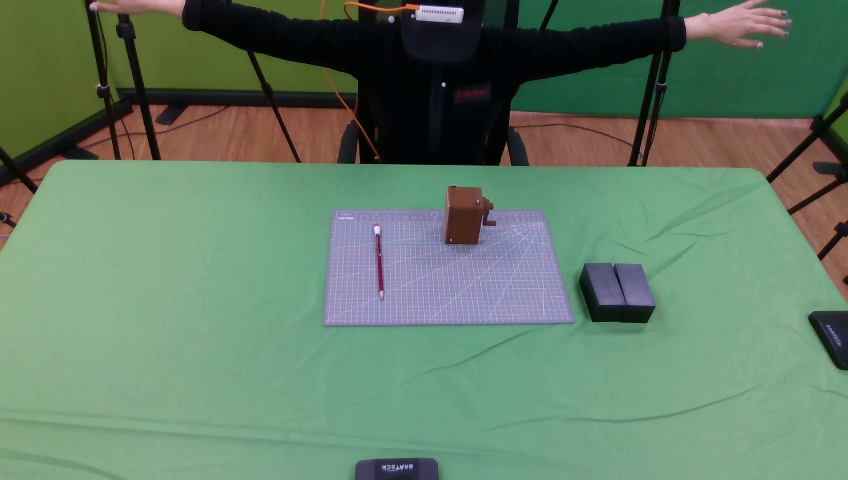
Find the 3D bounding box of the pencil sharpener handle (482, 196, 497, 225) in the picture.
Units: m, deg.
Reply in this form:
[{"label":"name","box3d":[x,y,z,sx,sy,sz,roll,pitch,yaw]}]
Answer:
[{"label":"pencil sharpener handle","box3d":[0.130,-0.056,1.182,0.031,0.068,0.036,1,43,-3]}]

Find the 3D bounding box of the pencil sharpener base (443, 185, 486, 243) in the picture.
[{"label":"pencil sharpener base","box3d":[0.078,-0.049,1.188,0.077,0.107,0.061,1,46,-3]}]

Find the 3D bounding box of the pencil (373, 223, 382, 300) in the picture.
[{"label":"pencil","box3d":[-0.088,0.038,1.160,0.012,0.012,0.192,-2,47,-6]}]
